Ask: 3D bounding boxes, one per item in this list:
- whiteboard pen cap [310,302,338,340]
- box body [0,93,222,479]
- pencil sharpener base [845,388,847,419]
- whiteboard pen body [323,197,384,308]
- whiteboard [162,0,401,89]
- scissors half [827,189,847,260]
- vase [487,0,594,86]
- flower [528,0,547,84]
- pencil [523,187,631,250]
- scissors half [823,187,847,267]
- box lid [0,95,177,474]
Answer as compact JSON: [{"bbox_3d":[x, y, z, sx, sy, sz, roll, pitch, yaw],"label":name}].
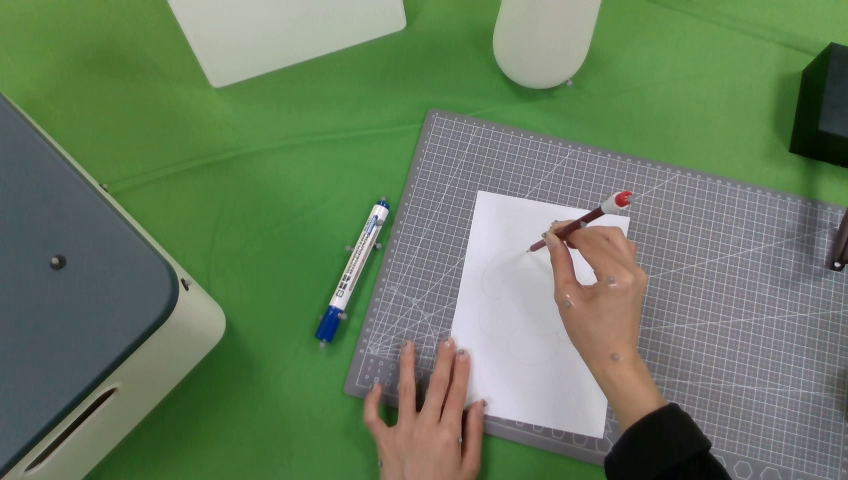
[{"bbox_3d":[-0.091,0.074,0.557,0.018,0.018,0.033,21,71,6],"label":"whiteboard pen cap"},{"bbox_3d":[-0.382,0.028,0.497,0.362,0.161,0.254,41,78,10],"label":"box body"},{"bbox_3d":[0.420,0.129,0.498,0.076,0.107,0.061,18,74,2],"label":"pencil sharpener base"},{"bbox_3d":[-0.070,0.022,0.574,0.017,0.017,0.140,21,73,6],"label":"whiteboard pen body"},{"bbox_3d":[-0.164,-0.333,0.559,0.217,0.308,0.142,-19,55,-5],"label":"whiteboard"},{"bbox_3d":[0.397,-0.063,0.550,0.013,0.040,0.174,17,76,24],"label":"scissors half"},{"bbox_3d":[0.112,-0.229,0.554,0.098,0.201,0.097,0,72,1],"label":"vase"},{"bbox_3d":[0.108,-0.267,0.478,0.044,0.365,0.038,8,56,6],"label":"flower"},{"bbox_3d":[0.114,-0.011,0.491,0.012,0.194,0.012,2,77,-11],"label":"pencil"},{"bbox_3d":[0.405,-0.059,0.568,0.012,0.040,0.175,17,94,29],"label":"scissors half"},{"bbox_3d":[-0.384,0.005,0.427,0.370,0.015,0.263,41,77,10],"label":"box lid"}]
